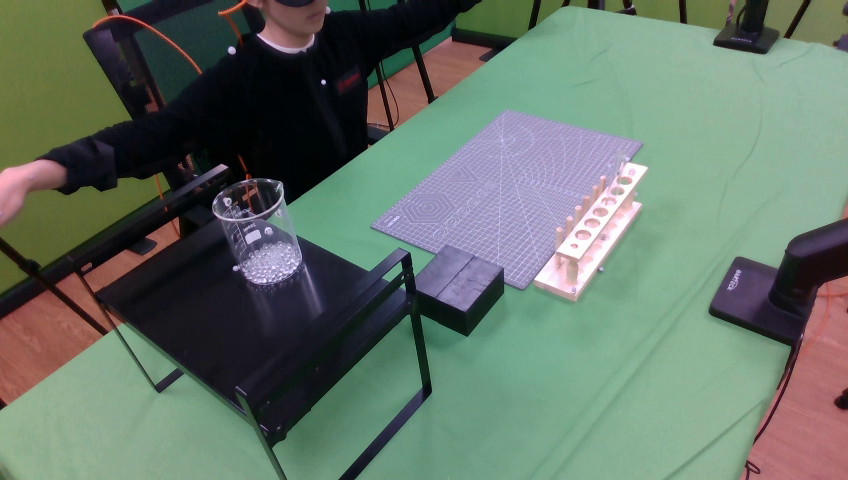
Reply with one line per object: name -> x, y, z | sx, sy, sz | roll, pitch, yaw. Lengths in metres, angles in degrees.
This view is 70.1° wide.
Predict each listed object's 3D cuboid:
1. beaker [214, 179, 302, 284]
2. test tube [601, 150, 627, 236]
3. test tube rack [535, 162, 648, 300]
beaker -> -0.178, -0.008, 0.675 | 0.073, 0.101, 0.084 | 22, 48, 30
test tube -> 0.276, -0.065, 0.884 | 0.017, 0.151, 0.017 | -2, 41, 2
test tube rack -> 0.257, -0.024, 0.916 | 0.066, 0.085, 0.243 | 22, 49, 30
